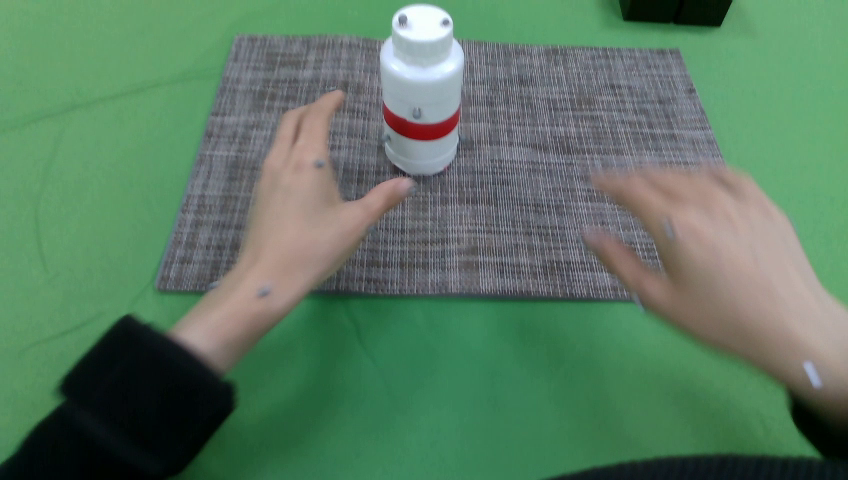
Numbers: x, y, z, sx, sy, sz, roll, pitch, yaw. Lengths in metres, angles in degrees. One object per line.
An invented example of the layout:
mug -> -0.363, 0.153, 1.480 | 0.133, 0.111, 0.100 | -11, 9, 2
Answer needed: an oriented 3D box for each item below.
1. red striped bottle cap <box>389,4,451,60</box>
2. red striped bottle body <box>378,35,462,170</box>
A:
red striped bottle cap -> -0.003, -0.148, 0.431 | 0.044, 0.018, 0.044 | 2, 56, -2
red striped bottle body -> -0.003, -0.117, 0.473 | 0.063, 0.121, 0.062 | 1, 54, -1
